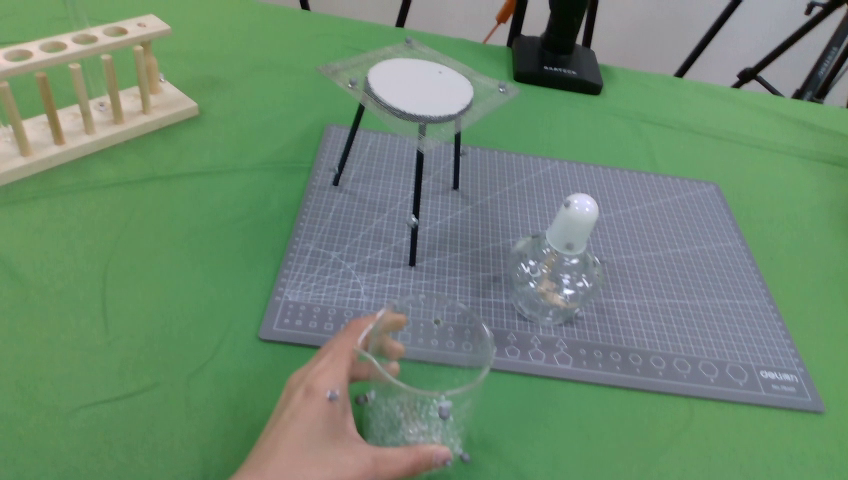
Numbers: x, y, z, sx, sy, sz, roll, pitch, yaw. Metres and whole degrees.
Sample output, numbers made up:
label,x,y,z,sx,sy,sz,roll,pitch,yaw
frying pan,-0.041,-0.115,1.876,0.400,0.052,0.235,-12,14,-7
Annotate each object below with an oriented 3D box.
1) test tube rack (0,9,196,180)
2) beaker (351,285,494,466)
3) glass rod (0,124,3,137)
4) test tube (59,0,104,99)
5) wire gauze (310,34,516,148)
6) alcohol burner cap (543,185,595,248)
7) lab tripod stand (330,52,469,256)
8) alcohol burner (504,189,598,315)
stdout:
label,x,y,z,sx,sy,sz,roll,pitch,yaw
test tube rack,-0.339,-0.131,0.553,0.066,0.086,0.242,36,49,24
beaker,-0.006,0.089,0.382,0.084,0.101,0.073,1,42,-10
glass rod,-0.372,-0.175,0.495,0.008,0.201,0.008,7,34,-5
test tube,-0.318,-0.198,0.554,0.017,0.151,0.017,4,41,-3
wire gauze,-0.007,-0.129,0.486,0.124,0.011,0.121,37,50,23
alcohol burner cap,0.112,-0.020,0.458,0.034,0.048,0.033,6,48,-6
lab tripod stand,-0.015,-0.081,0.532,0.149,0.132,0.147,7,44,-7
alcohol burner,0.106,0.005,0.484,0.078,0.120,0.077,8,42,-7
